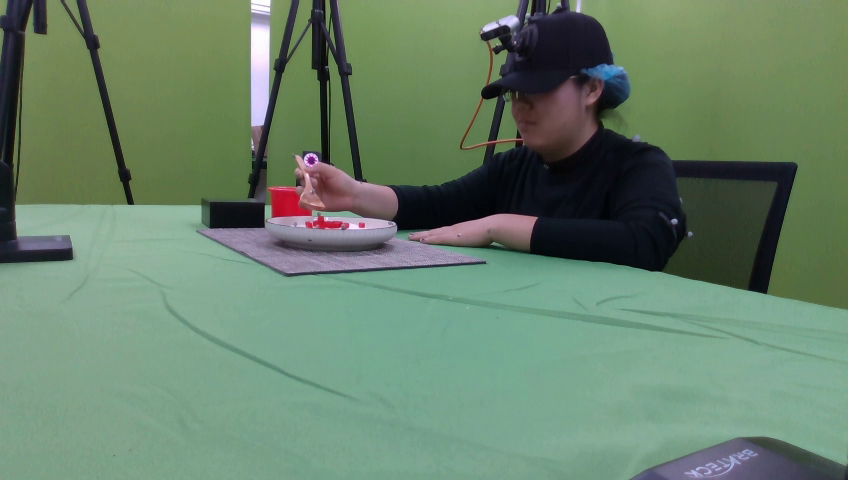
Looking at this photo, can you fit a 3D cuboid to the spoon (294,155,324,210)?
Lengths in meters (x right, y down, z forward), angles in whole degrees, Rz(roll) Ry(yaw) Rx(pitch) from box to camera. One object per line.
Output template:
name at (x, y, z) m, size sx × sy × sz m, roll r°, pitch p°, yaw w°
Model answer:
spoon at (-0.203, -0.102, 1.036) m, size 0.042 × 0.021 × 0.193 m, roll 11°, pitch 32°, yaw -27°

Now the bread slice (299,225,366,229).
bread slice at (-0.154, -0.012, 0.973) m, size 0.132 × 0.019 × 0.104 m, roll -2°, pitch 8°, yaw -31°

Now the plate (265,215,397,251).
plate at (-0.147, -0.012, 0.963) m, size 0.209 × 0.038 × 0.209 m, roll 3°, pitch 7°, yaw 0°
